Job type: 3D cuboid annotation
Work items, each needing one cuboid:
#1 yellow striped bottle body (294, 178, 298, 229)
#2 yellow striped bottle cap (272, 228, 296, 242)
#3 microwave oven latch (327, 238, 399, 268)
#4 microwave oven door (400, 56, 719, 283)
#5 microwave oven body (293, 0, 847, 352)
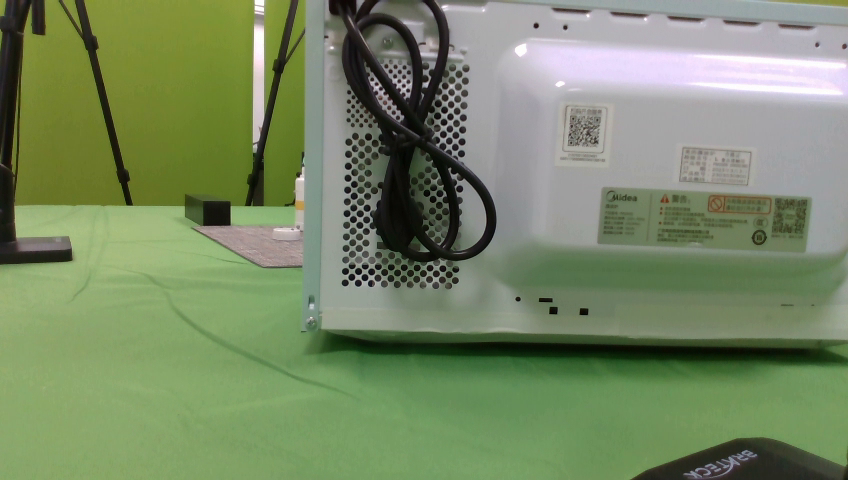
[{"bbox_3d":[-0.213,-0.078,1.142,0.063,0.120,0.063,2,8,0],"label":"yellow striped bottle body"},{"bbox_3d":[-0.232,-0.008,1.012,0.044,0.018,0.044,4,8,0],"label":"yellow striped bottle cap"},{"bbox_3d":[-0.069,0.015,0.694,0.079,0.029,0.030,3,7,-3],"label":"microwave oven latch"},{"bbox_3d":[0.155,-0.077,0.698,0.356,0.243,0.039,2,8,-5],"label":"microwave oven door"},{"bbox_3d":[0.122,-0.055,0.550,0.442,0.260,0.325,3,7,-5],"label":"microwave oven body"}]
